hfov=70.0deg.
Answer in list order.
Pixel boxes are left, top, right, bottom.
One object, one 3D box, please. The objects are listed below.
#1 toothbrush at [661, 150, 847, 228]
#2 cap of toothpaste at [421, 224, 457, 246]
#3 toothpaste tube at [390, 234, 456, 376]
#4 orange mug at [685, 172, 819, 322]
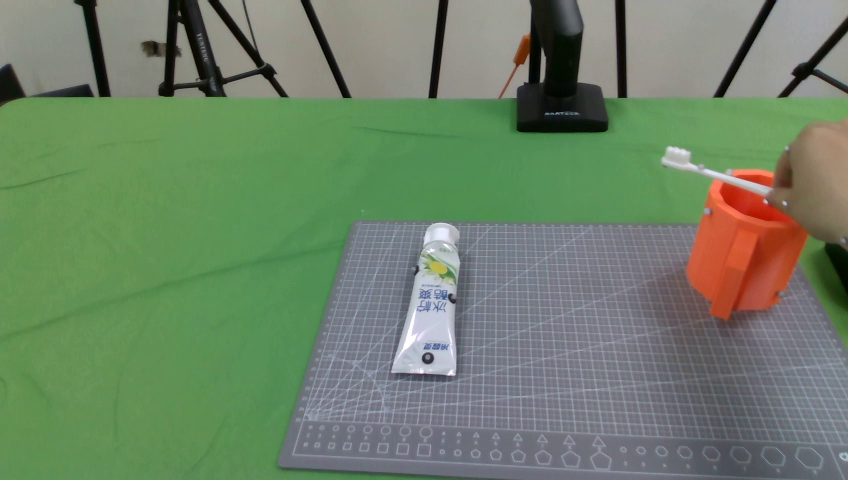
[{"bbox_3d":[0.279,-0.038,0.487,0.180,0.017,0.014,27,37,32],"label":"toothbrush"},{"bbox_3d":[0.015,-0.001,0.610,0.037,0.038,0.011,4,47,9],"label":"cap of toothpaste"},{"bbox_3d":[0.005,0.053,0.556,0.055,0.035,0.163,-2,44,9],"label":"toothpaste tube"},{"bbox_3d":[0.279,0.010,0.530,0.083,0.101,0.126,21,41,27],"label":"orange mug"}]
